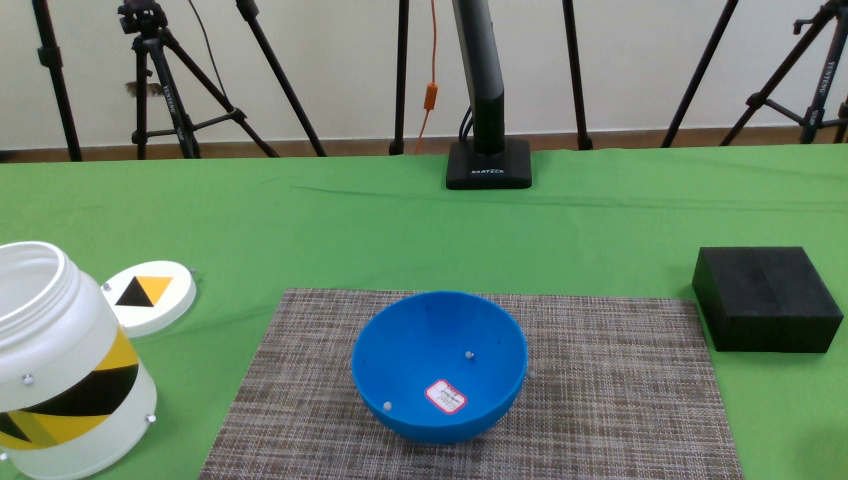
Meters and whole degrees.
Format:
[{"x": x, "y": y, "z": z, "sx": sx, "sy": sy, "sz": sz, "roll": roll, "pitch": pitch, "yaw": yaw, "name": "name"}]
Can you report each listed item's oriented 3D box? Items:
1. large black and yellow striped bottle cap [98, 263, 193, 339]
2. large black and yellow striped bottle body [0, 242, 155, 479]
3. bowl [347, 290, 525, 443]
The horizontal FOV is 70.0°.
[{"x": -0.330, "y": 0.068, "z": 0.706, "sx": 0.115, "sy": 0.019, "sz": 0.114, "roll": -3, "pitch": 38, "yaw": 2, "name": "large black and yellow striped bottle cap"}, {"x": -0.328, "y": 0.106, "z": 0.521, "sx": 0.131, "sy": 0.186, "sz": 0.129, "roll": -4, "pitch": 38, "yaw": 3, "name": "large black and yellow striped bottle body"}, {"x": 0.013, "y": 0.123, "z": 0.533, "sx": 0.151, "sy": 0.077, "sz": 0.150, "roll": -3, "pitch": 38, "yaw": 3, "name": "bowl"}]
